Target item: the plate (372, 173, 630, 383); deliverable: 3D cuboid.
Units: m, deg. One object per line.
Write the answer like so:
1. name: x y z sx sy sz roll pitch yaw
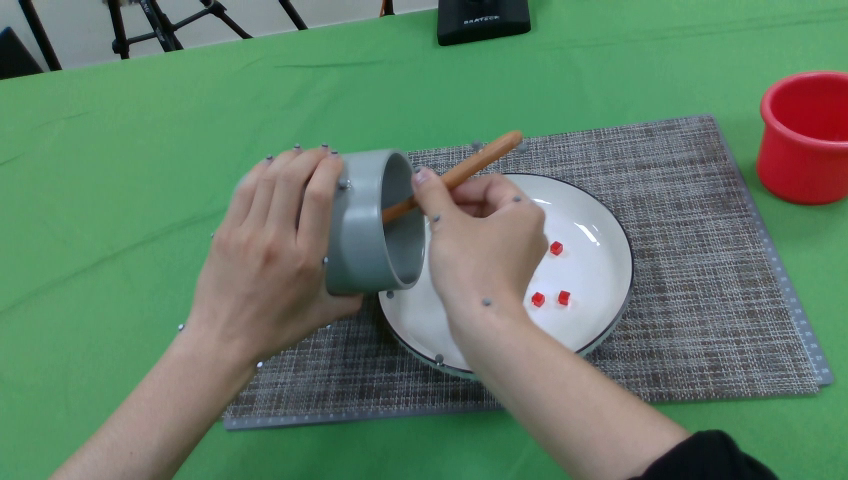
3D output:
1. plate: 0.061 0.029 0.502 0.207 0.039 0.205 -7 48 8

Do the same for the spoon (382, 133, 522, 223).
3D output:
1. spoon: -0.017 -0.026 0.427 0.193 0.022 0.041 -26 53 19

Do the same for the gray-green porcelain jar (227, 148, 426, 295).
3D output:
1. gray-green porcelain jar: -0.074 -0.011 0.460 0.126 0.107 0.105 -4 49 16

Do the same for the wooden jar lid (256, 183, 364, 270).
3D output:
1. wooden jar lid: -0.110 -0.012 0.594 0.108 0.021 0.107 -6 47 7
